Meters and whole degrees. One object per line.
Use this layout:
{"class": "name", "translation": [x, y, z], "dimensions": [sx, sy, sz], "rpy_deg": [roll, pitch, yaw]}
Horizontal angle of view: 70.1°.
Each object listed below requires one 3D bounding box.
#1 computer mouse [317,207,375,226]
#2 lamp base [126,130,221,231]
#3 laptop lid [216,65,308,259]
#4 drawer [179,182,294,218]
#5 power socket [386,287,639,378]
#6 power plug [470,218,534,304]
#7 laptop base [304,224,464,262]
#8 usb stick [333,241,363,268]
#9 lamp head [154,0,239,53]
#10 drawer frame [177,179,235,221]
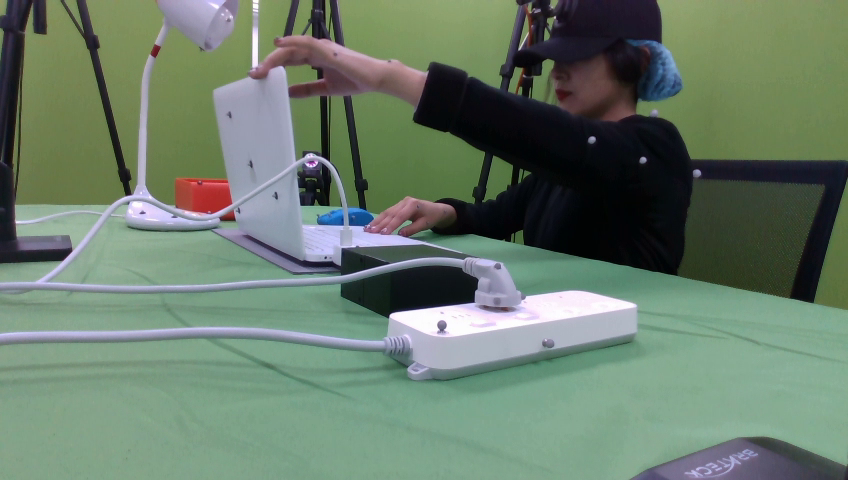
{"class": "computer mouse", "translation": [-0.163, -0.048, 1.264], "dimensions": [0.118, 0.041, 0.062], "rpy_deg": [-6, 12, -28]}
{"class": "lamp base", "translation": [-0.469, -0.112, 1.108], "dimensions": [0.179, 0.180, 0.160], "rpy_deg": [0, 7, 3]}
{"class": "laptop lid", "translation": [-0.242, -0.110, 0.863], "dimensions": [0.013, 0.241, 0.355], "rpy_deg": [-12, 14, -29]}
{"class": "drawer", "translation": [-0.420, -0.091, 1.354], "dimensions": [0.213, 0.073, 0.193], "rpy_deg": [-3, 10, -31]}
{"class": "power socket", "translation": [0.074, 0.064, 0.461], "dimensions": [0.228, 0.032, 0.072], "rpy_deg": [-4, 8, -34]}
{"class": "power plug", "translation": [0.054, 0.014, 0.454], "dimensions": [0.035, 0.072, 0.052], "rpy_deg": [-22, -3, -40]}
{"class": "laptop base", "translation": [-0.127, 0.003, 0.946], "dimensions": [0.237, 0.023, 0.352], "rpy_deg": [2, 6, -30]}
{"class": "usb stick", "translation": [-0.096, 0.017, 0.743], "dimensions": [0.021, 0.027, 0.059], "rpy_deg": [-6, 9, -31]}
{"class": "lamp head", "translation": [-0.406, -0.402, 1.059], "dimensions": [0.123, 0.112, 0.112], "rpy_deg": [25, 5, -6]}
{"class": "drawer frame", "translation": [-0.422, -0.092, 1.352], "dimensions": [0.215, 0.082, 0.200], "rpy_deg": [-3, 10, -32]}
